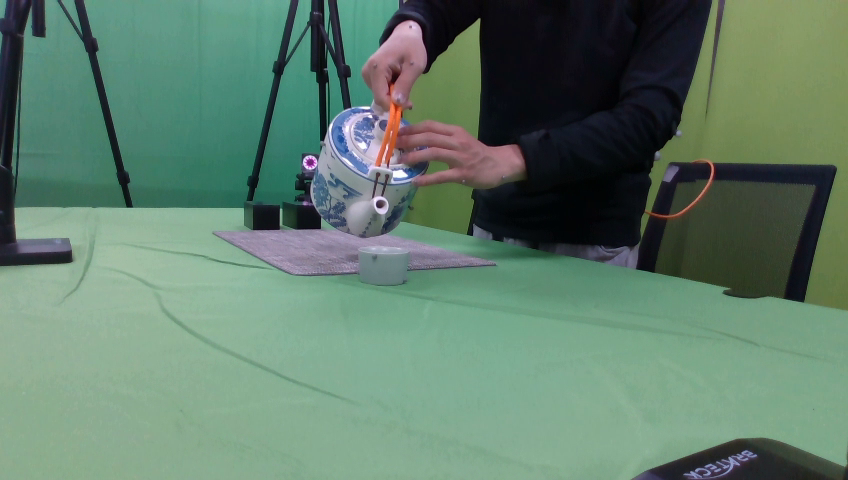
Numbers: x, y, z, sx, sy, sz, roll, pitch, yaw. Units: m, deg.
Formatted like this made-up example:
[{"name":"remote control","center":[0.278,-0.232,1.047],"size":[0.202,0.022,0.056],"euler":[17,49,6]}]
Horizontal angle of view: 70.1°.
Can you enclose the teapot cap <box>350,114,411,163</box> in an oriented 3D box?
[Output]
[{"name":"teapot cap","center":[-0.056,-0.139,0.803],"size":[0.085,0.085,0.043],"euler":[0,-31,-23]}]

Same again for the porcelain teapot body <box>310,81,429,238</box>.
[{"name":"porcelain teapot body","center":[-0.066,-0.091,0.816],"size":[0.146,0.205,0.225],"euler":[9,-38,-19]}]

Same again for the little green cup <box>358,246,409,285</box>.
[{"name":"little green cup","center":[-0.048,0.029,0.707],"size":[0.061,0.038,0.061],"euler":[2,8,0]}]
